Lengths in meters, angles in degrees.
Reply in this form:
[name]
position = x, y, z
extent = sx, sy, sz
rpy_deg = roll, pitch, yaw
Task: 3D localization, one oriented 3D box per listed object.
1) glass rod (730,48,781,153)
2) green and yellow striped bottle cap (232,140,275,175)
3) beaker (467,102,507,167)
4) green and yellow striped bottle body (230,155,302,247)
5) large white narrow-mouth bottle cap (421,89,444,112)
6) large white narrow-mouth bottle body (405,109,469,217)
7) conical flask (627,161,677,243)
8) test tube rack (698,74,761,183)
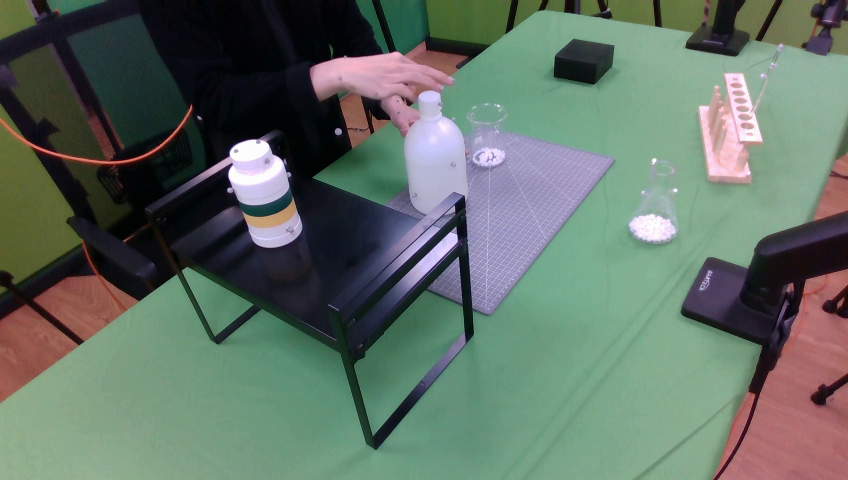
[glass rod]
position = 0.554, -0.228, 1.015
extent = 0.008, 0.200, 0.008
rpy_deg = 1, 44, -1
[green and yellow striped bottle cap]
position = -0.192, -0.093, 0.680
extent = 0.045, 0.020, 0.045
rpy_deg = -5, 39, 5
[beaker]
position = 0.121, -0.195, 1.124
extent = 0.084, 0.100, 0.073
rpy_deg = -34, 48, -28
[green and yellow striped bottle body]
position = -0.188, -0.055, 0.714
extent = 0.063, 0.120, 0.063
rpy_deg = -4, 41, 4
[large white narrow-mouth bottle cap]
position = 0.013, -0.218, 0.944
extent = 0.038, 0.024, 0.037
rpy_deg = -3, 38, 3
[large white narrow-mouth bottle body]
position = 0.020, -0.141, 1.004
extent = 0.102, 0.195, 0.101
rpy_deg = -4, 38, 3
[conical flask]
position = 0.355, -0.061, 0.921
extent = 0.075, 0.122, 0.075
rpy_deg = -4, 41, 4
[test tube rack]
position = 0.547, -0.208, 1.095
extent = 0.066, 0.085, 0.242
rpy_deg = 5, 42, 15
